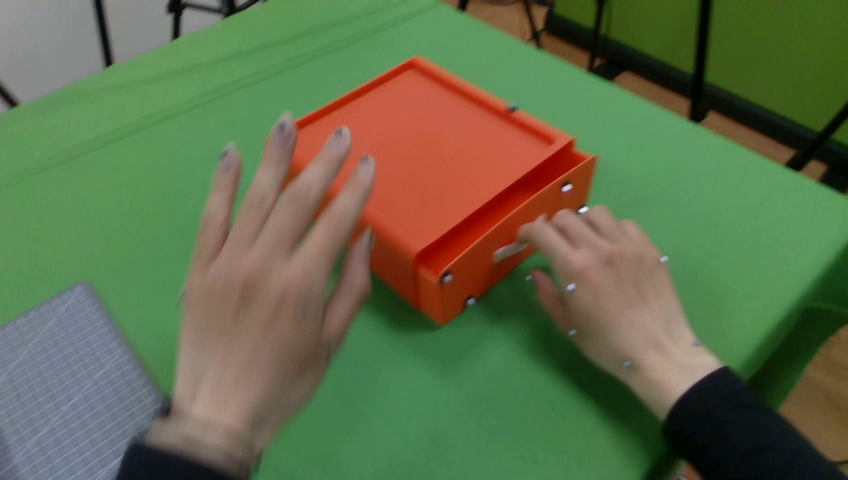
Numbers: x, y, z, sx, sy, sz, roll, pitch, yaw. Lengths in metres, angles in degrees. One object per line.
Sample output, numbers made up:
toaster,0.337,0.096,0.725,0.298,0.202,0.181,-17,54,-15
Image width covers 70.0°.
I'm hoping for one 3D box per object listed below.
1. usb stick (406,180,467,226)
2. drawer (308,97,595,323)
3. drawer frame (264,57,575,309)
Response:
usb stick,0.014,-0.038,0.576,0.059,0.027,0.021,-22,50,-16
drawer,0.014,-0.053,0.563,0.194,0.074,0.209,-37,55,-25
drawer frame,-0.005,-0.067,0.576,0.201,0.083,0.211,-38,55,-26
